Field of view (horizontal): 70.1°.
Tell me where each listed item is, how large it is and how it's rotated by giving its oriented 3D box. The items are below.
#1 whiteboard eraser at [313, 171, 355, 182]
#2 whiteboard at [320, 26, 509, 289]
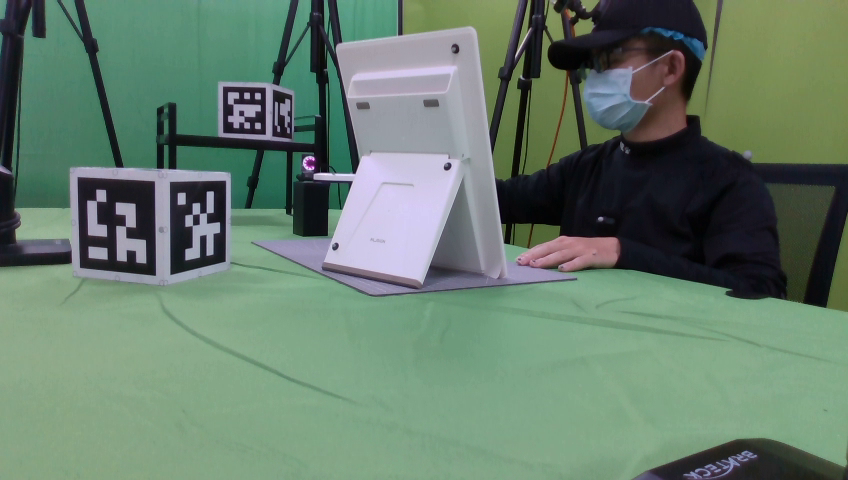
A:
[{"bbox_3d":[-0.166,-0.122,1.165,0.102,0.019,0.041,-2,7,-34],"label":"whiteboard eraser"},{"bbox_3d":[-0.045,-0.076,0.721,0.216,0.305,0.144,9,29,39],"label":"whiteboard"}]
